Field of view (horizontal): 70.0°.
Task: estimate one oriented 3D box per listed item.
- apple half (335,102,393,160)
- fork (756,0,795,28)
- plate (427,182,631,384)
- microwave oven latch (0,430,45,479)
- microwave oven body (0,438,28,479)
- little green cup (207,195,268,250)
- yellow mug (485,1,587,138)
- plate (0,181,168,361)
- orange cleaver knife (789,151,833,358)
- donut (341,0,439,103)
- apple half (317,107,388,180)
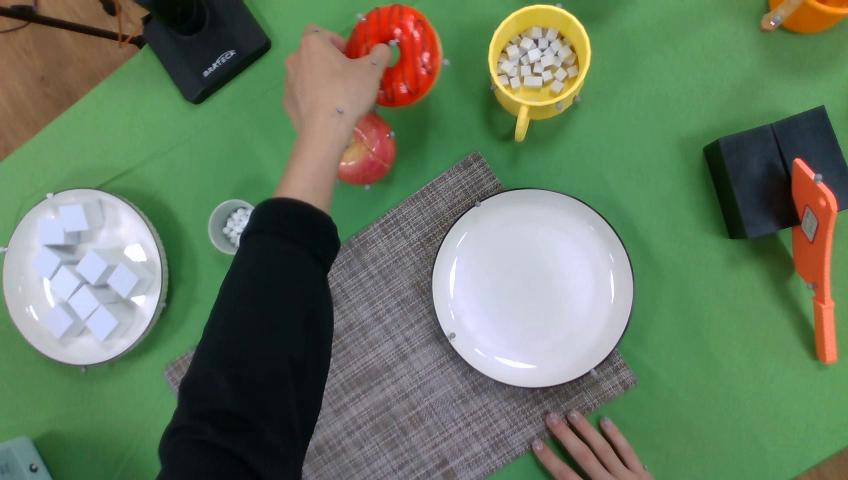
[{"bbox_3d":[-0.055,-0.122,0.646,0.033,0.081,0.081,-44,84,10],"label":"apple half"},{"bbox_3d":[0.342,-0.228,0.551,0.207,0.018,0.028,-36,84,-37],"label":"fork"},{"bbox_3d":[0.108,0.043,0.637,0.209,0.038,0.209,0,90,8],"label":"plate"},{"bbox_3d":[-0.473,0.262,0.705,0.030,0.029,0.079,-27,87,6],"label":"microwave oven latch"},{"bbox_3d":[-0.521,0.488,0.614,0.326,0.260,0.441,-32,86,6],"label":"microwave oven body"},{"bbox_3d":[-0.209,-0.019,0.686,0.061,0.039,0.061,0,90,9],"label":"little green cup"},{"bbox_3d":[0.111,-0.170,0.626,0.100,0.064,0.131,14,93,8],"label":"yellow mug"},{"bbox_3d":[-0.393,0.036,0.713,0.207,0.039,0.207,0,90,8],"label":"plate"},{"bbox_3d":[0.369,0.018,0.581,0.012,0.076,0.213,-14,118,11],"label":"orange cleaver knife"},{"bbox_3d":[-0.034,-0.185,0.597,0.099,0.048,0.099,2,99,13],"label":"donut"},{"bbox_3d":[-0.083,-0.095,0.651,0.053,0.074,0.081,-43,88,10],"label":"apple half"}]
